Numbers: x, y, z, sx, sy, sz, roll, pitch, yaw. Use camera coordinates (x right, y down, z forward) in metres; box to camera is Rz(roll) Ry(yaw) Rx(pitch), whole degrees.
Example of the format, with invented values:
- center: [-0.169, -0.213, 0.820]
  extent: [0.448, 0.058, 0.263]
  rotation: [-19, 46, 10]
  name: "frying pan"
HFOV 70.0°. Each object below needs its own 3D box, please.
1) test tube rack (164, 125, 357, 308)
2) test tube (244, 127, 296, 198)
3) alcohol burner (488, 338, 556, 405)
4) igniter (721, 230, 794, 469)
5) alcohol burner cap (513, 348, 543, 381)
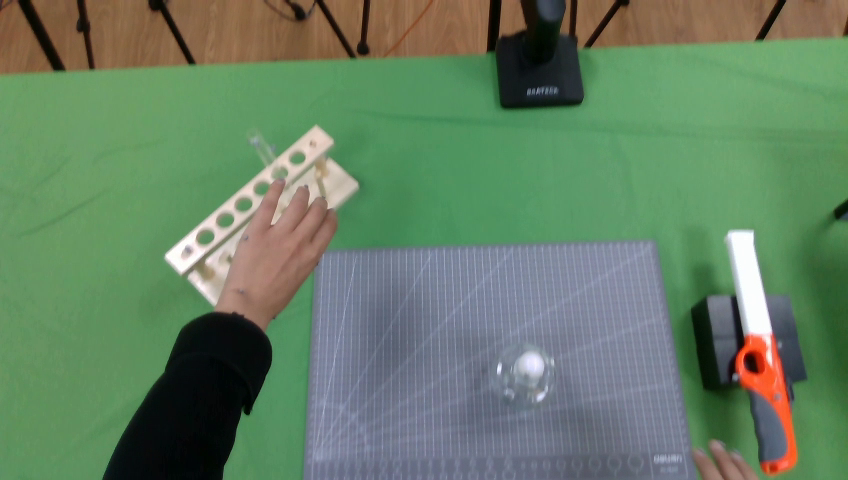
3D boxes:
- center: [-0.200, -0.030, 0.774]
  extent: [0.066, 0.086, 0.242]
  rotation: [41, 74, 16]
  name: "test tube rack"
- center: [-0.186, -0.091, 0.745]
  extent: [0.017, 0.151, 0.017]
  rotation: [-2, 66, 6]
  name: "test tube"
- center: [0.113, 0.145, 0.684]
  extent: [0.078, 0.120, 0.077]
  rotation: [0, 66, -1]
  name: "alcohol burner"
- center: [0.378, 0.116, 0.692]
  extent: [0.057, 0.025, 0.274]
  rotation: [1, 66, 3]
  name: "igniter"
- center: [0.113, 0.132, 0.651]
  extent: [0.034, 0.048, 0.033]
  rotation: [-2, 70, 5]
  name: "alcohol burner cap"
